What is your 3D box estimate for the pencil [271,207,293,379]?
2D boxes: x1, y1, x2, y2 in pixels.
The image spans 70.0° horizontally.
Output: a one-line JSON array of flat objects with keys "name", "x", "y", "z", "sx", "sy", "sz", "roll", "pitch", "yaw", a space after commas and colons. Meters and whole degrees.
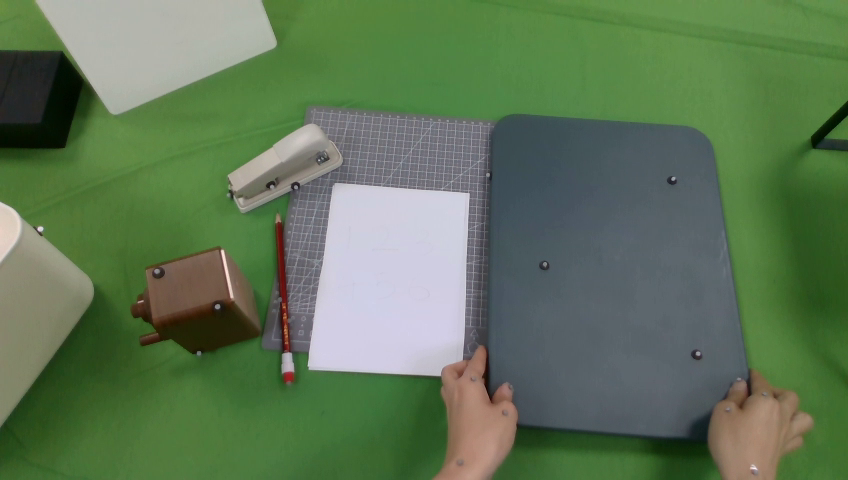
[{"name": "pencil", "x": -0.151, "y": 0.050, "z": 0.633, "sx": 0.012, "sy": 0.012, "sz": 0.192, "roll": -8, "pitch": 67, "yaw": -5}]

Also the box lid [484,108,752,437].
[{"name": "box lid", "x": 0.198, "y": 0.014, "z": 0.652, "sx": 0.263, "sy": 0.015, "sz": 0.368, "roll": 5, "pitch": 65, "yaw": -2}]

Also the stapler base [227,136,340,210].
[{"name": "stapler base", "x": -0.159, "y": -0.082, "z": 0.682, "sx": 0.130, "sy": 0.024, "sz": 0.041, "roll": -29, "pitch": 66, "yaw": -10}]

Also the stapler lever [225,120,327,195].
[{"name": "stapler lever", "x": -0.161, "y": -0.092, "z": 0.659, "sx": 0.118, "sy": 0.040, "sz": 0.026, "roll": -29, "pitch": 66, "yaw": -10}]

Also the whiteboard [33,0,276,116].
[{"name": "whiteboard", "x": -0.333, "y": -0.337, "z": 0.668, "sx": 0.217, "sy": 0.308, "sz": 0.142, "roll": -27, "pitch": 51, "yaw": -12}]

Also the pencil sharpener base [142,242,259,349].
[{"name": "pencil sharpener base", "x": -0.211, "y": 0.057, "z": 0.577, "sx": 0.077, "sy": 0.108, "sz": 0.061, "roll": -16, "pitch": 68, "yaw": -8}]

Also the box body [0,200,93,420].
[{"name": "box body", "x": -0.535, "y": 0.043, "z": 0.543, "sx": 0.363, "sy": 0.161, "sz": 0.253, "roll": 24, "pitch": 68, "yaw": 8}]

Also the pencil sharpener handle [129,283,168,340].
[{"name": "pencil sharpener handle", "x": -0.258, "y": 0.070, "z": 0.556, "sx": 0.031, "sy": 0.068, "sz": 0.035, "roll": -16, "pitch": 52, "yaw": -8}]
